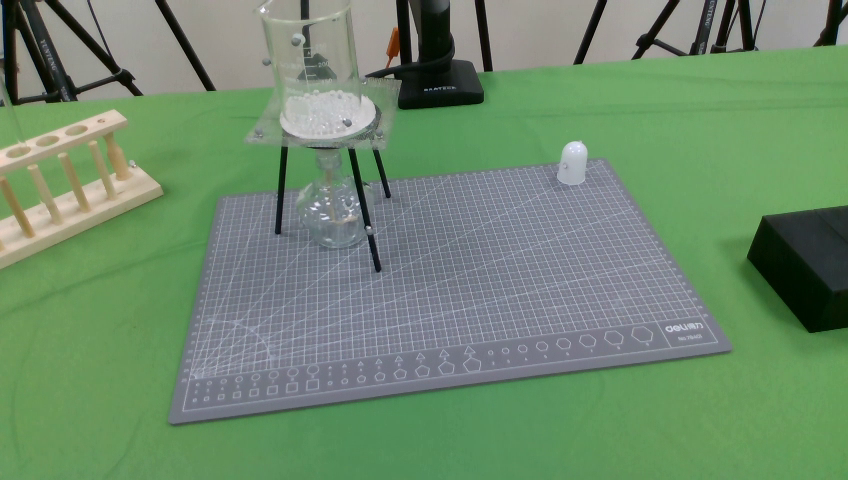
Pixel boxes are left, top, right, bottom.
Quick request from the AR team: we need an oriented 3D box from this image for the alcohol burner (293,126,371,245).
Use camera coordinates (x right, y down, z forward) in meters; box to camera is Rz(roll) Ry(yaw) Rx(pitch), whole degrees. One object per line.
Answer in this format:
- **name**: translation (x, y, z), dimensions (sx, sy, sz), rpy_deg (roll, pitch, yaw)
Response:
- **alcohol burner**: translation (-0.091, -0.055, 0.588), dimensions (0.078, 0.120, 0.077), rpy_deg (-2, 39, 2)

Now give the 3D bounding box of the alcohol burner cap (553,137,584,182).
- **alcohol burner cap**: translation (0.163, -0.093, 0.678), dimensions (0.034, 0.048, 0.033), rpy_deg (-1, 40, 1)

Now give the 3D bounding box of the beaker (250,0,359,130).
- **beaker**: translation (-0.096, -0.151, 0.508), dimensions (0.084, 0.101, 0.073), rpy_deg (5, 42, 9)

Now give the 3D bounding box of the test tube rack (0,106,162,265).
- **test tube rack**: translation (-0.407, -0.045, 0.615), dimensions (0.242, 0.086, 0.066), rpy_deg (-33, 49, -31)

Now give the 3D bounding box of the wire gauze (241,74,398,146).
- **wire gauze**: translation (-0.090, -0.119, 0.546), dimensions (0.125, 0.011, 0.120), rpy_deg (0, 40, 7)

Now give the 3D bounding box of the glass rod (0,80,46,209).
- **glass rod**: translation (-0.408, -0.119, 0.600), dimensions (0.008, 0.201, 0.008), rpy_deg (1, 33, 0)

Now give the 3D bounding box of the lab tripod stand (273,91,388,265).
- **lab tripod stand**: translation (-0.085, -0.062, 0.581), dimensions (0.148, 0.133, 0.147), rpy_deg (-2, 42, 2)
